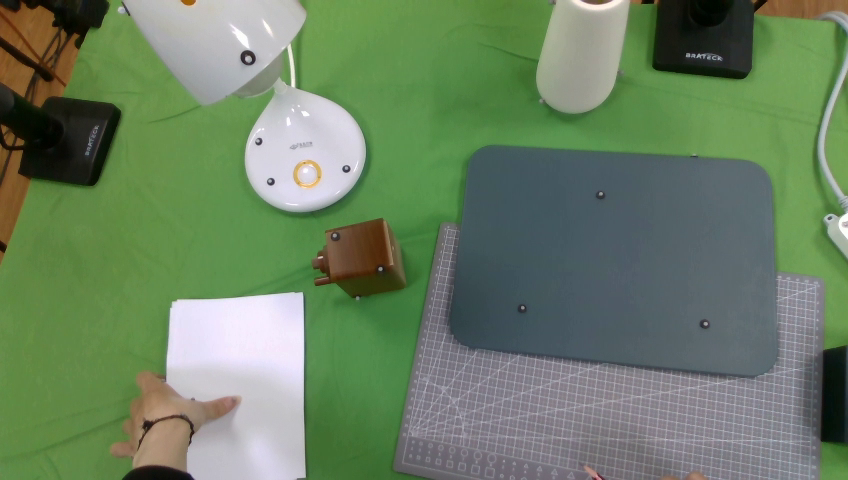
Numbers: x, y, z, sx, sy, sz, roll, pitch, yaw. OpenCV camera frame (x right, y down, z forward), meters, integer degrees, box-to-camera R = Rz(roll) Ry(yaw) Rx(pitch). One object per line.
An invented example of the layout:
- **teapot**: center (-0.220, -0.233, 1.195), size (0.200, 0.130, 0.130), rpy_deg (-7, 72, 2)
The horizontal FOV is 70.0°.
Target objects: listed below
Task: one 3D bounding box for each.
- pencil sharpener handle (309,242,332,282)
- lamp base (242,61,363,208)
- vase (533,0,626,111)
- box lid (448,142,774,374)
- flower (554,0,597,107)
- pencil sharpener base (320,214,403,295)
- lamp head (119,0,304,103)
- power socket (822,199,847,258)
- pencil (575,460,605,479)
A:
- **pencil sharpener handle**: center (-0.122, 0.030, 0.692), size (0.030, 0.068, 0.035), rpy_deg (-12, 61, 3)
- **lamp base**: center (-0.172, -0.150, 0.724), size (0.160, 0.181, 0.178), rpy_deg (-21, 70, -1)
- **vase**: center (0.182, -0.233, 0.703), size (0.098, 0.201, 0.097), rpy_deg (-1, 72, 5)
- **box lid**: center (0.223, 0.012, 0.725), size (0.371, 0.015, 0.262), rpy_deg (5, 74, 7)
- **flower**: center (0.185, -0.268, 0.626), size (0.044, 0.364, 0.038), rpy_deg (-14, 61, -15)
- **pencil sharpener base**: center (-0.071, 0.020, 0.703), size (0.076, 0.108, 0.061), rpy_deg (-12, 73, 3)
- **lamp head**: center (-0.168, -0.182, 0.444), size (0.112, 0.124, 0.111), rpy_deg (-28, 33, 20)
- **power socket**: center (0.545, 0.046, 0.672), size (0.072, 0.033, 0.225), rpy_deg (-30, 73, -3)
- **pencil**: center (0.222, 0.277, 0.590), size (0.194, 0.012, 0.012), rpy_deg (40, 81, 0)
